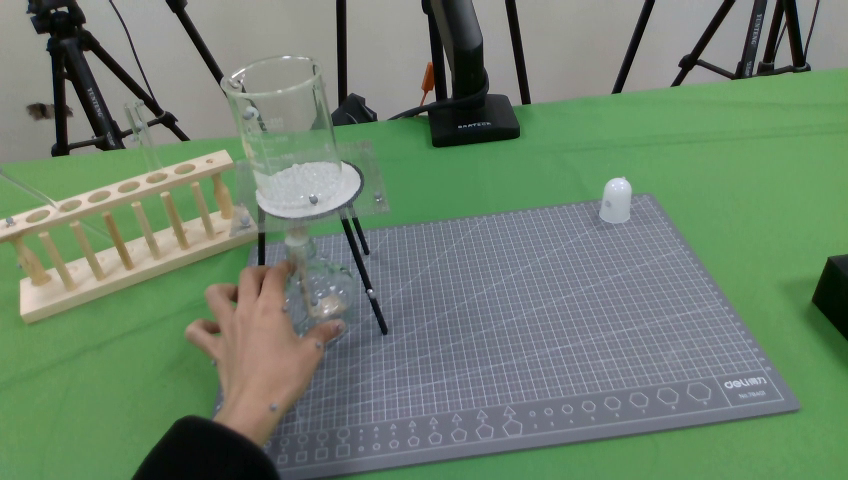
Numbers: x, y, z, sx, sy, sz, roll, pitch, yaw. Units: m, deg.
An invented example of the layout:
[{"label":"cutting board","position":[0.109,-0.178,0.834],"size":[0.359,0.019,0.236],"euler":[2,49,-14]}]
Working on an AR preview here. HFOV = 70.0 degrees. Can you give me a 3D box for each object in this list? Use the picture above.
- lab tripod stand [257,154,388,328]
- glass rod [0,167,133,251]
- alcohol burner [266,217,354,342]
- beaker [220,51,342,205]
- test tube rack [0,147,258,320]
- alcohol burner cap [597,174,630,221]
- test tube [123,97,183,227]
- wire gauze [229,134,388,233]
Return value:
[{"label":"lab tripod stand","position":[-0.092,0.003,0.545],"size":[0.148,0.133,0.147],"euler":[-4,40,4]},{"label":"glass rod","position":[-0.371,-0.040,0.593],"size":[0.008,0.202,0.008],"euler":[-21,48,25]},{"label":"alcohol burner","position":[-0.102,0.031,0.527],"size":[0.078,0.120,0.077],"euler":[-4,36,3]},{"label":"beaker","position":[-0.109,-0.085,0.473],"size":[0.083,0.101,0.073],"euler":[12,42,24]},{"label":"test tube rack","position":[-0.309,-0.012,0.639],"size":[0.243,0.086,0.066],"euler":[-22,41,-20]},{"label":"alcohol burner cap","position":[0.201,-0.048,0.642],"size":[0.034,0.048,0.033],"euler":[-4,38,3]},{"label":"test tube","position":[-0.283,-0.077,0.638],"size":[0.017,0.151,0.017],"euler":[-3,35,3]},{"label":"wire gauze","position":[-0.099,-0.048,0.504],"size":[0.125,0.011,0.120],"euler":[-13,36,-3]}]
